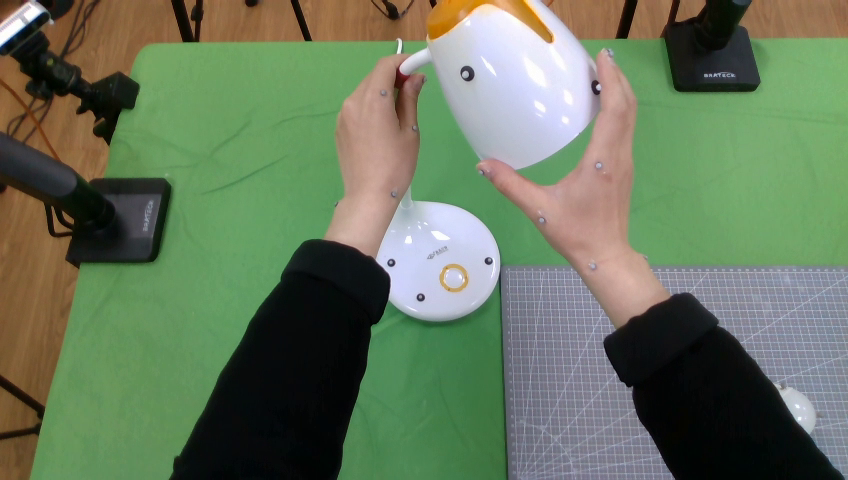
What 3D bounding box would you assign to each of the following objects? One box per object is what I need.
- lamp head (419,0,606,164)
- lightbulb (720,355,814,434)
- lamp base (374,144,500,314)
[{"bbox_3d":[0.054,-0.134,0.444,0.124,0.111,0.112,44,69,-26],"label":"lamp head"},{"bbox_3d":[0.383,0.170,0.685,0.059,0.060,0.106,-36,55,-13],"label":"lightbulb"},{"bbox_3d":[0.005,-0.021,0.705,0.160,0.181,0.178,-39,69,-14],"label":"lamp base"}]
